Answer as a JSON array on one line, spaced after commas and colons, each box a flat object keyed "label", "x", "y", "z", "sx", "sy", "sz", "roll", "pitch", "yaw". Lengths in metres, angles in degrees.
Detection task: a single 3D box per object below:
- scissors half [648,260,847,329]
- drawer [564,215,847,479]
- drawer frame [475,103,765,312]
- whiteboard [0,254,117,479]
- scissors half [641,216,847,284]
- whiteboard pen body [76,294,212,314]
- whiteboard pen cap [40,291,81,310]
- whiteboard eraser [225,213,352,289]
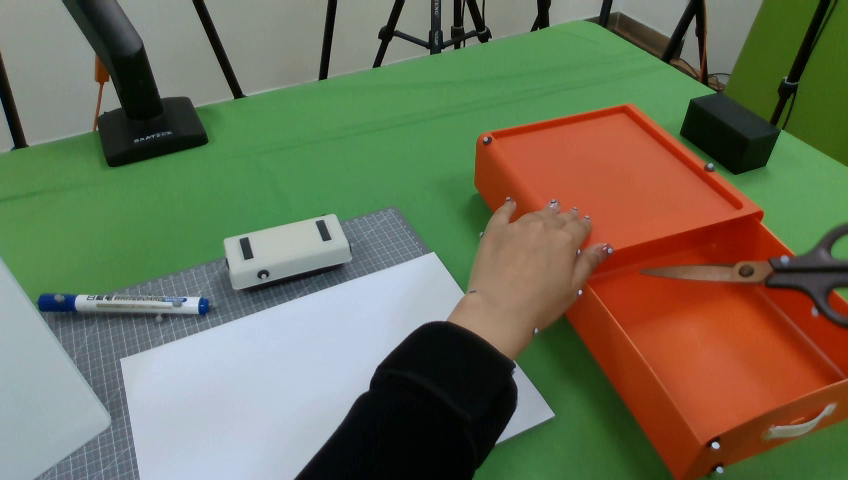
[{"label": "scissors half", "x": 0.230, "y": 0.031, "z": 0.406, "sx": 0.174, "sy": 0.013, "sz": 0.040, "roll": 8, "pitch": 79, "yaw": 43}, {"label": "drawer", "x": 0.240, "y": 0.067, "z": 0.506, "sx": 0.195, "sy": 0.074, "sz": 0.209, "roll": -14, "pitch": 44, "yaw": -14}, {"label": "drawer frame", "x": 0.184, "y": -0.042, "z": 0.620, "sx": 0.202, "sy": 0.083, "sz": 0.211, "roll": -15, "pitch": 43, "yaw": -15}, {"label": "whiteboard", "x": -0.393, "y": 0.054, "z": 0.386, "sx": 0.142, "sy": 0.308, "sz": 0.217, "roll": 15, "pitch": 41, "yaw": 45}, {"label": "scissors half", "x": 0.234, "y": 0.012, "z": 0.410, "sx": 0.174, "sy": 0.013, "sz": 0.040, "roll": -13, "pitch": 61, "yaw": 37}, {"label": "whiteboard pen body", "x": -0.265, "y": 0.057, "z": 0.548, "sx": 0.141, "sy": 0.017, "sz": 0.017, "roll": 1, "pitch": 42, "yaw": -3}, {"label": "whiteboard pen cap", "x": -0.324, "y": 0.054, "z": 0.544, "sx": 0.033, "sy": 0.018, "sz": 0.018, "roll": 1, "pitch": 42, "yaw": -6}, {"label": "whiteboard eraser", "x": -0.131, "y": 0.012, "z": 0.584, "sx": 0.113, "sy": 0.042, "sz": 0.055, "roll": -15, "pitch": 43, "yaw": -16}]
